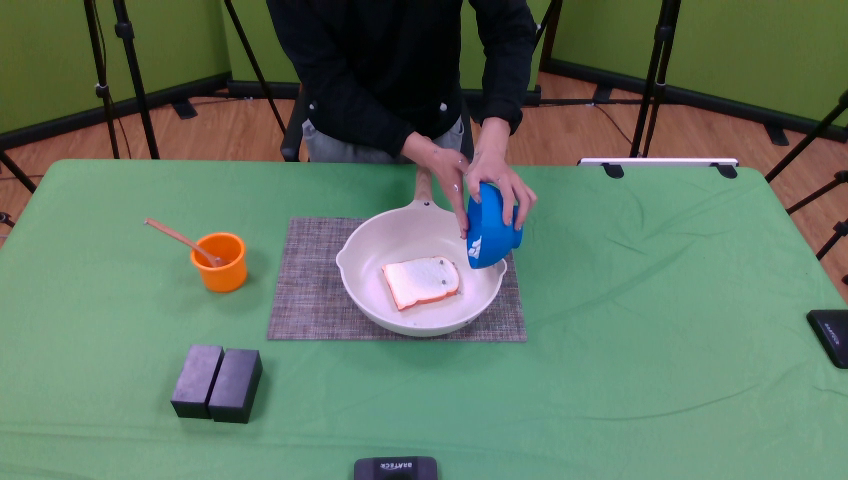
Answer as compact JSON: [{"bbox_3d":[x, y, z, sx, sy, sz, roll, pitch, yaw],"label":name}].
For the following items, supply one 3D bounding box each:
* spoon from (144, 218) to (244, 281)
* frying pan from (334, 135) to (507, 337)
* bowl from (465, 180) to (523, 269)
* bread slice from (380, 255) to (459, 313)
[{"bbox_3d":[-0.401,0.015,1.064,0.195,0.021,0.041,41,36,-29],"label":"spoon"},{"bbox_3d":[-0.004,-0.026,1.160,0.307,0.103,0.485,4,55,-2],"label":"frying pan"},{"bbox_3d":[0.121,-0.025,1.025,0.077,0.152,0.150,2,46,-6],"label":"bowl"},{"bbox_3d":[-0.005,0.075,1.119,0.134,0.018,0.106,-17,50,-16],"label":"bread slice"}]
